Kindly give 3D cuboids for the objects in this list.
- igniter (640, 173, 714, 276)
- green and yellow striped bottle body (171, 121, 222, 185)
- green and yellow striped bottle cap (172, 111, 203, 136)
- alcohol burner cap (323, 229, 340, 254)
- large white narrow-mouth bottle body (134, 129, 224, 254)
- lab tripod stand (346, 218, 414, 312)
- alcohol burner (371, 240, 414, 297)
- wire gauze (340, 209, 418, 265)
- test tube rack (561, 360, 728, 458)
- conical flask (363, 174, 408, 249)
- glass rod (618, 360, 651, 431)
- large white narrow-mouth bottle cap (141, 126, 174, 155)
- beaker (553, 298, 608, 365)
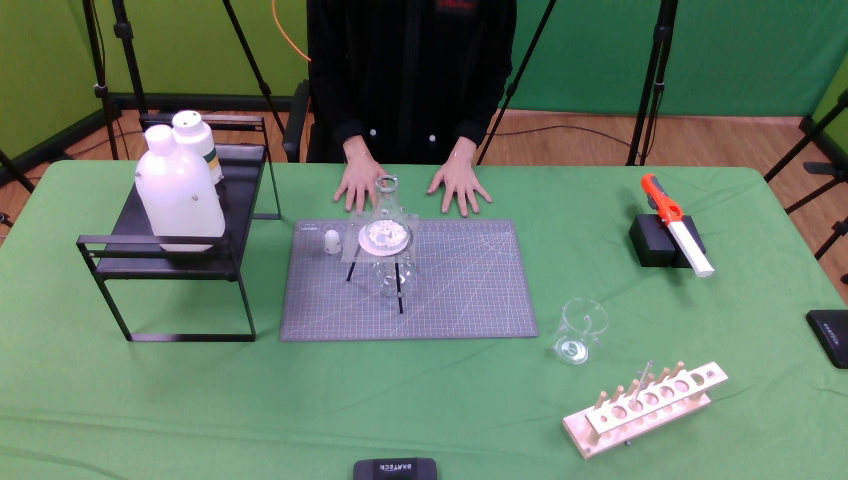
[{"bbox_3d":[0.495,-0.039,1.204,0.057,0.025,0.274,-2,47,-12],"label":"igniter"},{"bbox_3d":[-0.375,-0.149,0.995,0.063,0.120,0.063,2,46,-2],"label":"green and yellow striped bottle body"},{"bbox_3d":[-0.374,-0.185,0.958,0.045,0.020,0.045,4,46,-3],"label":"green and yellow striped bottle cap"},{"bbox_3d":[-0.179,0.001,1.165,0.034,0.048,0.033,2,45,-2],"label":"alcohol burner cap"},{"bbox_3d":[-0.358,-0.075,0.875,0.102,0.195,0.101,1,48,-1],"label":"large white narrow-mouth bottle body"},{"bbox_3d":[-0.070,0.037,1.075,0.148,0.132,0.147,1,47,-1],"label":"lab tripod stand"},{"bbox_3d":[-0.057,0.046,1.082,0.078,0.120,0.077,0,46,0],"label":"alcohol burner"},{"bbox_3d":[-0.074,-0.006,1.024,0.121,0.011,0.124,2,48,1],"label":"wire gauze"},{"bbox_3d":[0.341,0.248,0.940,0.243,0.085,0.066,-15,49,-18],"label":"test tube rack"},{"bbox_3d":[-0.063,-0.049,0.985,0.075,0.122,0.075,2,46,-1],"label":"conical flask"},{"bbox_3d":[0.298,0.227,0.865,0.008,0.201,0.008,-2,47,2],"label":"glass rod"},{"bbox_3d":[-0.356,-0.133,0.811,0.038,0.024,0.037,1,48,-1],"label":"large white narrow-mouth bottle cap"},{"bbox_3d":[0.260,0.155,1.015,0.073,0.101,0.084,37,54,27],"label":"beaker"}]
